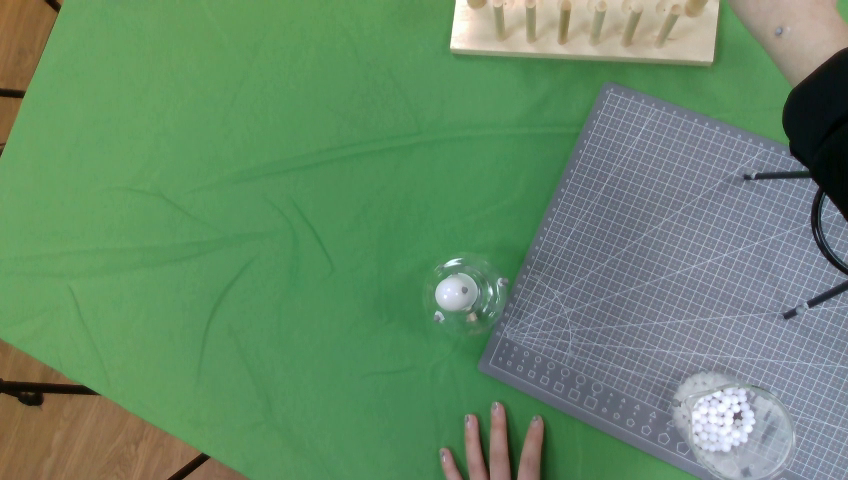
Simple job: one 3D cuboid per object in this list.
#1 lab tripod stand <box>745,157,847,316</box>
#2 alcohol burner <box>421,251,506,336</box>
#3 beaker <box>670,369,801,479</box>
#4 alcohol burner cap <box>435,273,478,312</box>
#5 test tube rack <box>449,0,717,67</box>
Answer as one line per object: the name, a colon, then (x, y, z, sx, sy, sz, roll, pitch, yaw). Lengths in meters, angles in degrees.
lab tripod stand: (0.322, -0.008, 0.466, 0.148, 0.132, 0.148, 0, 88, 11)
alcohol burner: (0.033, 0.047, 0.536, 0.078, 0.119, 0.077, -1, 84, 10)
beaker: (0.241, 0.143, 0.491, 0.083, 0.100, 0.074, 30, 92, 13)
alcohol burner cap: (0.025, 0.044, 0.501, 0.034, 0.048, 0.034, 0, 89, 13)
test tube rack: (0.139, -0.208, 0.543, 0.242, 0.085, 0.066, 6, 87, 12)
